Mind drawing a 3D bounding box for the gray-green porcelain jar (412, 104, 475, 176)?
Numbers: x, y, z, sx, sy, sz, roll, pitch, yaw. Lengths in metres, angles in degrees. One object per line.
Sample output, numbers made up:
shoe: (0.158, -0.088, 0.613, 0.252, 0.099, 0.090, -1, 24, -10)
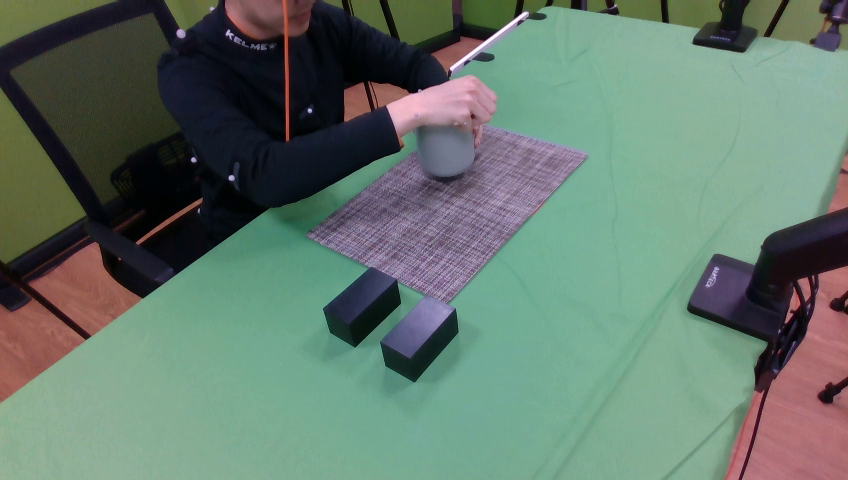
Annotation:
gray-green porcelain jar: (0.036, -0.186, 1.069, 0.106, 0.127, 0.105, -4, 44, 4)

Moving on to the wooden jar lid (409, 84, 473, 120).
wooden jar lid: (0.030, -0.231, 1.026, 0.108, 0.021, 0.108, -7, 41, 6)
